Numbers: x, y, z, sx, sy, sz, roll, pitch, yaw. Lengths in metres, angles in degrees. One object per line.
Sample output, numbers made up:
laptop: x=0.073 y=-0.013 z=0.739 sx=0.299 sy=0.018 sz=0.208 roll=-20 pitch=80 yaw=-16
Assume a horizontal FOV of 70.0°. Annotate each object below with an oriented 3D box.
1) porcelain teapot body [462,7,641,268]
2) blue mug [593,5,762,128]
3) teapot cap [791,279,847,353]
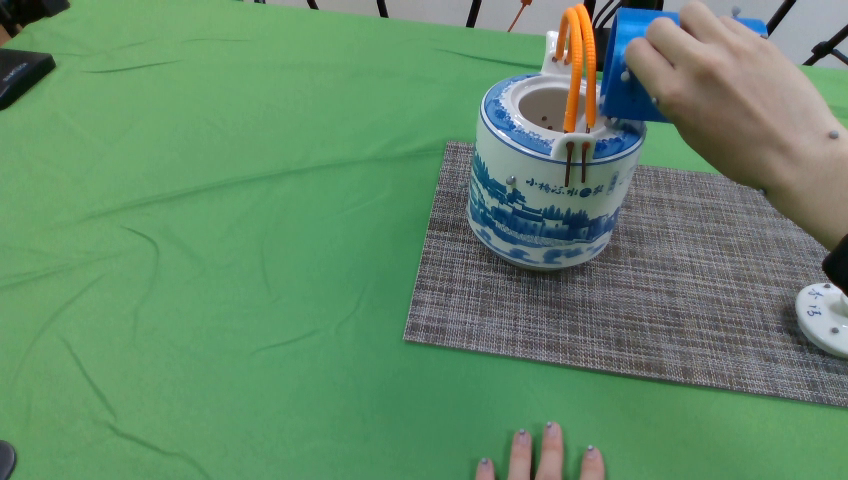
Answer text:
porcelain teapot body: x=0.115 y=-0.112 z=0.562 sx=0.145 sy=0.227 sz=0.203 roll=3 pitch=44 yaw=-1
blue mug: x=0.188 y=-0.131 z=0.455 sx=0.105 sy=0.082 sz=0.116 roll=8 pitch=15 yaw=9
teapot cap: x=0.371 y=0.062 z=0.534 sx=0.085 sy=0.044 sz=0.084 roll=4 pitch=43 yaw=-3
